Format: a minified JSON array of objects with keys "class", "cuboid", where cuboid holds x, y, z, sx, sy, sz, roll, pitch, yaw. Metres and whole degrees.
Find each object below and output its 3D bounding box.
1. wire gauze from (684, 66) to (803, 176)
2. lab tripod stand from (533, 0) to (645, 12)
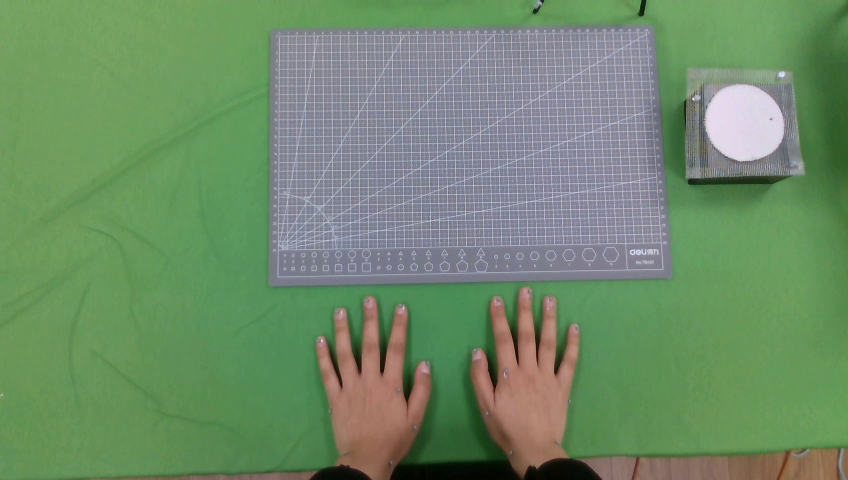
[{"class":"wire gauze","cuboid":[0.341,-0.129,0.652,0.121,0.011,0.124,2,82,2]},{"class":"lab tripod stand","cuboid":[0.198,-0.317,0.659,0.148,0.132,0.148,0,81,-3]}]
